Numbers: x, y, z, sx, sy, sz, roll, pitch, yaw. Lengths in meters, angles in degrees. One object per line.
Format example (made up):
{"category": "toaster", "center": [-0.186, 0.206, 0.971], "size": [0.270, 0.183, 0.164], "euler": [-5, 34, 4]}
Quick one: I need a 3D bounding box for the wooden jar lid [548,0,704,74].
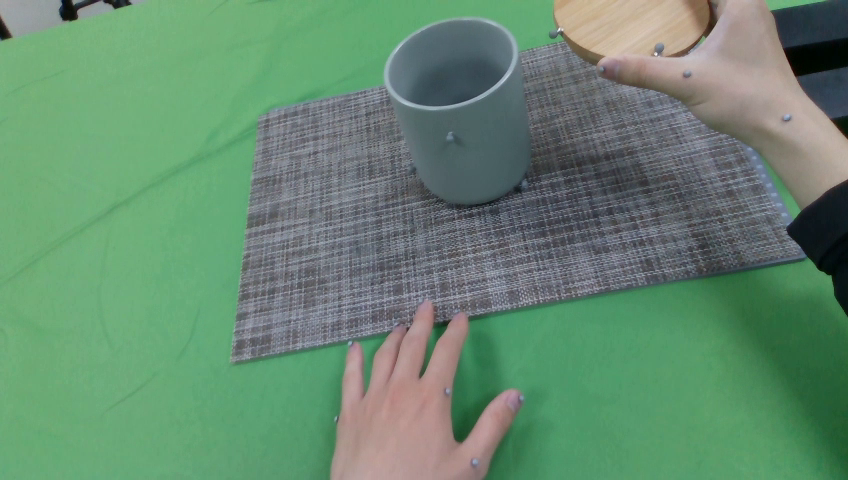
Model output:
{"category": "wooden jar lid", "center": [0.144, -0.160, 0.440], "size": [0.108, 0.021, 0.107], "euler": [-2, 60, 5]}

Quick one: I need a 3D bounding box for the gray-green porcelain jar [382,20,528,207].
{"category": "gray-green porcelain jar", "center": [0.032, -0.098, 0.508], "size": [0.106, 0.128, 0.105], "euler": [-7, 54, 10]}
